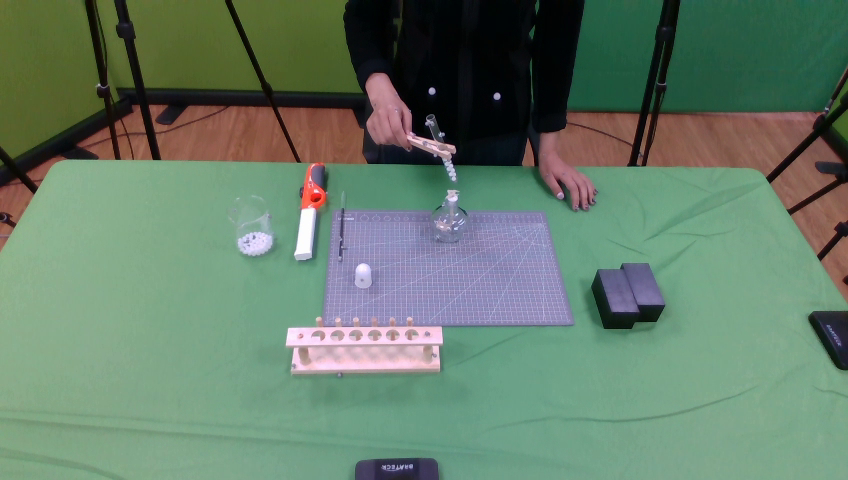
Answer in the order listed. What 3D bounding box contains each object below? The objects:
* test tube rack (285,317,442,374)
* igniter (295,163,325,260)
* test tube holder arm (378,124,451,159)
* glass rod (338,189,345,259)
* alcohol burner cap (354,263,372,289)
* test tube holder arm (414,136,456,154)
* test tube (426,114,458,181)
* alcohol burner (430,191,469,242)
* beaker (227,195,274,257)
[{"bbox_3d":[-0.095,0.166,0.988,0.242,0.085,0.066,0,46,-4],"label":"test tube rack"},{"bbox_3d":[-0.233,-0.068,1.243,0.057,0.025,0.274,-7,46,3],"label":"igniter"},{"bbox_3d":[-0.020,-0.182,1.104,0.177,0.015,0.013,26,62,34],"label":"test tube holder arm"},{"bbox_3d":[-0.166,-0.036,1.227,0.008,0.008,0.198,-1,46,-4],"label":"glass rod"},{"bbox_3d":[-0.113,0.063,1.111,0.034,0.048,0.033,2,46,-2],"label":"alcohol burner cap"},{"bbox_3d":[0.018,-0.171,1.082,0.087,0.015,0.010,18,59,30],"label":"test tube holder arm"},{"bbox_3d":[0.033,-0.160,1.068,0.017,0.151,0.017,-13,46,14],"label":"test tube"},{"bbox_3d":[0.052,-0.053,1.185,0.078,0.119,0.077,2,48,-2],"label":"alcohol burner"},{"bbox_3d":[-0.326,-0.022,1.142,0.074,0.101,0.083,10,47,6],"label":"beaker"}]
